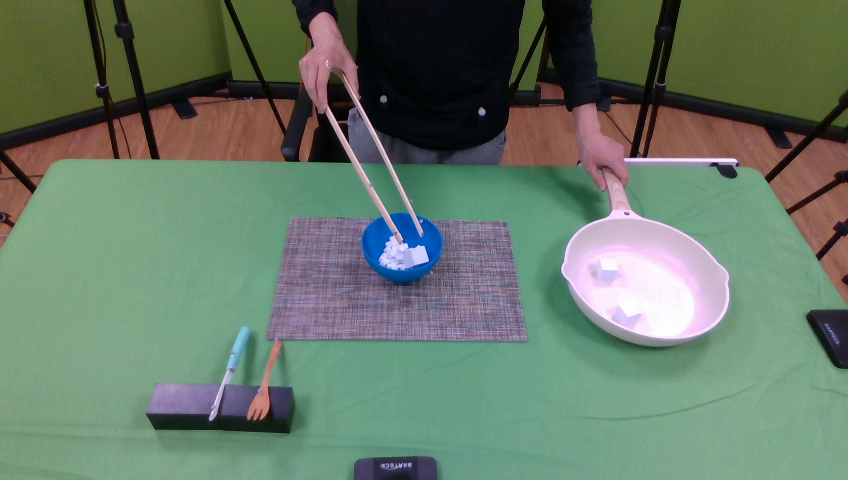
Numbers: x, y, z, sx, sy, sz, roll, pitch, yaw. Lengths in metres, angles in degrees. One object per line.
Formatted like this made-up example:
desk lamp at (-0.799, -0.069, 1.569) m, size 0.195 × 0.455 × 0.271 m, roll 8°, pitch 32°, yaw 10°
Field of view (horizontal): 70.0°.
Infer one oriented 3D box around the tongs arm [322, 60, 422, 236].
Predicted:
tongs arm at (-0.095, -0.173, 1.099) m, size 0.028 × 0.028 × 0.386 m, roll -25°, pitch 74°, yaw -12°

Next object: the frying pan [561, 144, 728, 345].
frying pan at (0.397, -0.008, 1.179) m, size 0.307 × 0.103 × 0.485 m, roll 2°, pitch 55°, yaw -4°

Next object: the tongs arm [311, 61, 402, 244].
tongs arm at (-0.118, -0.164, 1.092) m, size 0.051 × 0.026 × 0.383 m, roll -27°, pitch 75°, yaw -16°

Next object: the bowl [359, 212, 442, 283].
bowl at (-0.044, 0.026, 1.125) m, size 0.151 × 0.077 × 0.150 m, roll 2°, pitch 46°, yaw -2°

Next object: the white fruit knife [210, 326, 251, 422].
white fruit knife at (-0.300, 0.201, 0.941) m, size 0.016 × 0.027 × 0.206 m, roll -2°, pitch 32°, yaw 1°

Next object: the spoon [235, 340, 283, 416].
spoon at (-0.244, 0.207, 0.932) m, size 0.042 × 0.022 × 0.193 m, roll 28°, pitch 25°, yaw -8°
